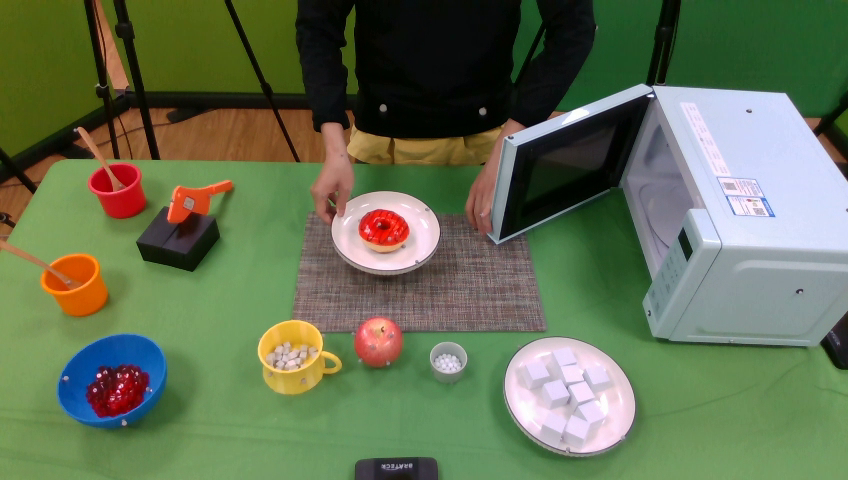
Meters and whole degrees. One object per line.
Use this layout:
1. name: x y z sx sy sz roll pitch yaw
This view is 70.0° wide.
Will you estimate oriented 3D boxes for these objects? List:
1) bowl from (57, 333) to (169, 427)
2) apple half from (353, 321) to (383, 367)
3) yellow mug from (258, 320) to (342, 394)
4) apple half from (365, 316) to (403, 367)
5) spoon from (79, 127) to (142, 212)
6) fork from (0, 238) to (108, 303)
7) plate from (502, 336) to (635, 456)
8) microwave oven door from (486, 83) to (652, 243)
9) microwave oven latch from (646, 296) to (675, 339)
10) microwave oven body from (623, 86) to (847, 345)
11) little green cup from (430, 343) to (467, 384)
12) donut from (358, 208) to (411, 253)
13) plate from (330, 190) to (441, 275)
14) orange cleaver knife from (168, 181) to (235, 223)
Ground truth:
1. bowl: -0.456 0.223 0.911 0.151 0.077 0.150 3 45 -2
2. apple half: -0.097 0.177 0.984 0.033 0.081 0.081 -17 49 -25
3. yellow mug: -0.195 0.189 0.972 0.131 0.064 0.099 9 46 3
4. apple half: -0.063 0.165 1.000 0.053 0.075 0.080 -16 45 -24
5. spoon: -0.624 -0.140 1.203 0.041 0.021 0.194 -33 100 -25
6. fork: -0.633 0.048 1.017 0.208 0.018 0.028 40 41 -27
7. plate: 0.225 0.248 0.963 0.208 0.039 0.206 2 46 -2
8. microwave oven door: 0.285 -0.153 1.188 0.356 0.245 0.039 -24 52 -25
9. microwave oven latch: 0.412 0.134 1.061 0.030 0.029 0.078 4 45 0
10. microwave oven body: 0.567 -0.053 1.118 0.326 0.261 0.439 2 45 -1
11. little green cup: 0.039 0.203 0.994 0.061 0.039 0.061 2 46 -2
12. donut: -0.074 -0.019 1.135 0.099 0.048 0.098 3 46 -3
13. plate: -0.073 -0.011 1.143 0.209 0.038 0.208 3 48 -3
14. orange cleaver knife: -0.436 -0.078 1.196 0.012 0.077 0.211 16 15 10
